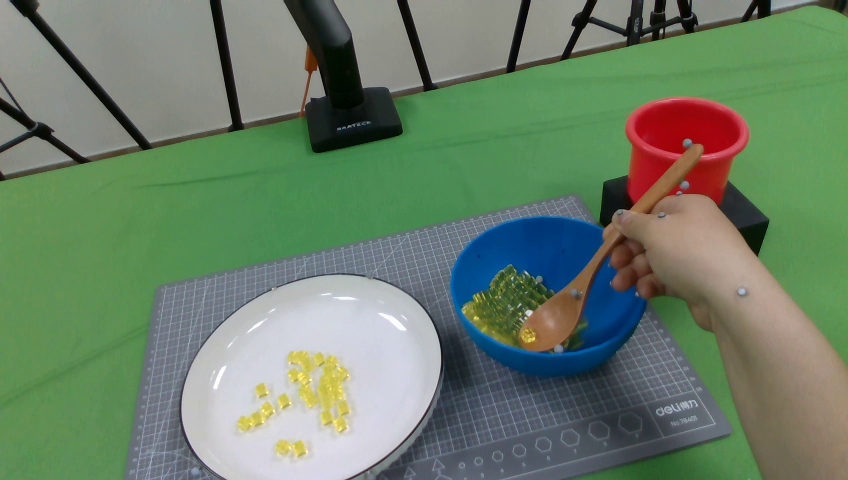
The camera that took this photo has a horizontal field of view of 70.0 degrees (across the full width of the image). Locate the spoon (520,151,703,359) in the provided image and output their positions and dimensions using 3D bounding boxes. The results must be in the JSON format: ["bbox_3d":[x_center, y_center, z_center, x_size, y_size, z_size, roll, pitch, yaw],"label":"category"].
[{"bbox_3d":[0.137,0.012,0.444,0.194,0.022,0.041,-54,29,10],"label":"spoon"}]

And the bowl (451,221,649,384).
[{"bbox_3d":[0.099,0.062,0.490,0.151,0.077,0.150,-5,42,5],"label":"bowl"}]

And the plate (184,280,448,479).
[{"bbox_3d":[-0.083,0.117,0.490,0.207,0.039,0.205,-5,41,5],"label":"plate"}]
